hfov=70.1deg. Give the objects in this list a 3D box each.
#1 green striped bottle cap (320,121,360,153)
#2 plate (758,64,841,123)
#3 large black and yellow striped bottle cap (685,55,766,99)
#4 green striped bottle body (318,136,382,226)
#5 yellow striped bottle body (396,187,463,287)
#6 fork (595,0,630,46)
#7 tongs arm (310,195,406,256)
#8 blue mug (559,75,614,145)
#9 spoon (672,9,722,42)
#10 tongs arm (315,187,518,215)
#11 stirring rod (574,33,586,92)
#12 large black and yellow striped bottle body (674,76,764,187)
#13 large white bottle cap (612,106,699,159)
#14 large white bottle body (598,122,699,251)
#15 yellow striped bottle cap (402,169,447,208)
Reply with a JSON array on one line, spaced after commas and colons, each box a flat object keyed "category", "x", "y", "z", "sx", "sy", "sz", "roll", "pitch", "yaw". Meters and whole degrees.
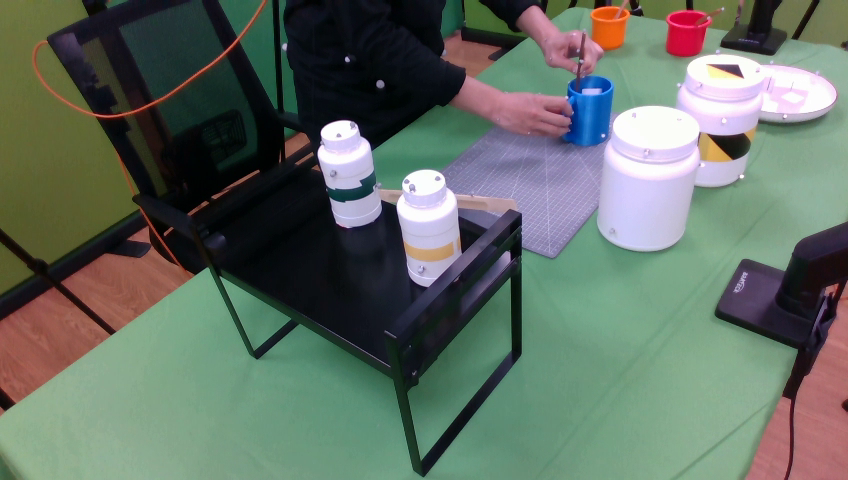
[{"category": "green striped bottle cap", "x": -0.097, "y": -0.120, "z": 0.699, "sx": 0.044, "sy": 0.020, "sz": 0.044, "roll": -3, "pitch": 40, "yaw": 3}, {"category": "plate", "x": 0.694, "y": -0.283, "z": 1.189, "sx": 0.207, "sy": 0.039, "sz": 0.206, "roll": -4, "pitch": 40, "yaw": 4}, {"category": "large black and yellow striped bottle cap", "x": 0.474, "y": -0.258, "z": 0.952, "sx": 0.115, "sy": 0.019, "sz": 0.114, "roll": -5, "pitch": 41, "yaw": 5}, {"category": "green striped bottle body", "x": -0.090, "y": -0.080, "z": 0.733, "sx": 0.063, "sy": 0.120, "sz": 0.063, "roll": -5, "pitch": 41, "yaw": 4}, {"category": "yellow striped bottle body", "x": 0.006, "y": -0.013, "z": 0.638, "sx": 0.063, "sy": 0.121, "sz": 0.062, "roll": -5, "pitch": 41, "yaw": 4}, {"category": "fork", "x": 0.480, "y": -0.556, "z": 1.453, "sx": 0.028, "sy": 0.019, "sz": 0.207, "roll": 41, "pitch": 104, "yaw": 42}, {"category": "tongs arm", "x": -0.078, "y": -0.013, "z": 0.944, "sx": 0.028, "sy": 0.028, "sz": 0.384, "roll": -42, "pitch": 39, "yaw": -23}, {"category": "blue mug", "x": 0.300, "y": -0.239, "z": 1.142, "sx": 0.117, "sy": 0.106, "sz": 0.081, "roll": -29, "pitch": 45, "yaw": -22}, {"category": "spoon", "x": 0.606, "y": -0.476, "z": 1.345, "sx": 0.042, "sy": 0.021, "sz": 0.193, "roll": -6, "pitch": -3, "yaw": -2}, {"category": "tongs arm", "x": -0.028, "y": -0.060, "z": 0.988, "sx": 0.382, "sy": 0.027, "sz": 0.051, "roll": 10, "pitch": 45, "yaw": 36}, {"category": "stirring rod", "x": 0.283, "y": -0.292, "z": 1.119, "sx": 0.006, "sy": 0.176, "sz": 0.014, "roll": 11, "pitch": 34, "yaw": 15}, {"category": "large black and yellow striped bottle body", "x": 0.482, "y": -0.196, "z": 1.008, "sx": 0.131, "sy": 0.185, "sz": 0.130, "roll": -4, "pitch": 41, "yaw": 4}, {"category": "large white bottle cap", "x": 0.325, "y": -0.153, "z": 0.850, "sx": 0.115, "sy": 0.018, "sz": 0.114, "roll": -4, "pitch": 41, "yaw": 4}, {"category": "large white bottle body", "x": 0.334, "y": -0.090, "z": 0.906, "sx": 0.130, "sy": 0.185, "sz": 0.130, "roll": -5, "pitch": 41, "yaw": 5}, {"category": "yellow striped bottle cap", "x": 0.000, "y": -0.052, "z": 0.605, "sx": 0.044, "sy": 0.019, "sz": 0.044, "roll": -5, "pitch": 43, "yaw": 5}]
